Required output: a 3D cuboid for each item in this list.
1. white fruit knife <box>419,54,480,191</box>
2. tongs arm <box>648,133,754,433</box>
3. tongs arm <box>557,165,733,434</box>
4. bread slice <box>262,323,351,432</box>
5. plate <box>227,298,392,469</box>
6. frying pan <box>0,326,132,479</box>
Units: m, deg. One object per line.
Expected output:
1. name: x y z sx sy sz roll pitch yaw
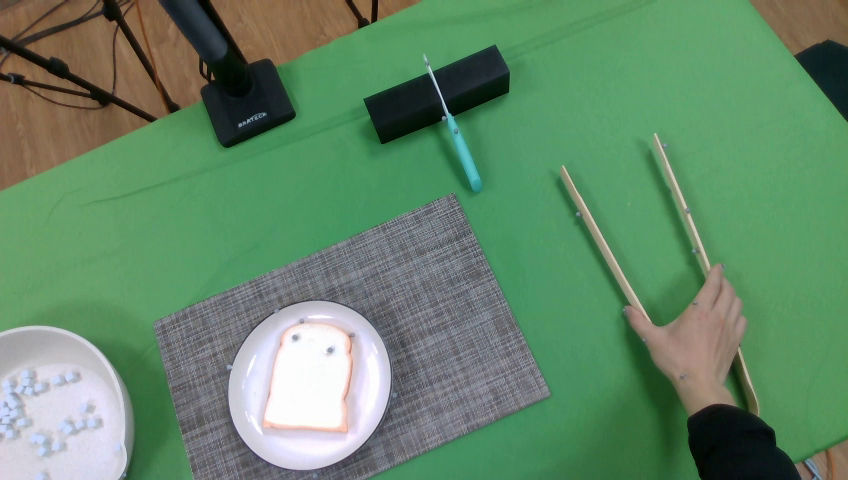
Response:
1. white fruit knife: 0.032 -0.165 0.839 0.016 0.027 0.207 -23 85 -2
2. tongs arm: 0.331 0.042 0.758 0.051 0.027 0.382 -16 72 2
3. tongs arm: 0.263 0.065 0.761 0.028 0.028 0.384 -24 71 -4
4. bread slice: -0.145 0.172 0.765 0.107 0.018 0.133 -1 73 5
5. plate: -0.140 0.177 0.761 0.207 0.039 0.206 -2 71 6
6. frying pan: -0.518 0.348 0.714 0.306 0.103 0.484 7 64 10
